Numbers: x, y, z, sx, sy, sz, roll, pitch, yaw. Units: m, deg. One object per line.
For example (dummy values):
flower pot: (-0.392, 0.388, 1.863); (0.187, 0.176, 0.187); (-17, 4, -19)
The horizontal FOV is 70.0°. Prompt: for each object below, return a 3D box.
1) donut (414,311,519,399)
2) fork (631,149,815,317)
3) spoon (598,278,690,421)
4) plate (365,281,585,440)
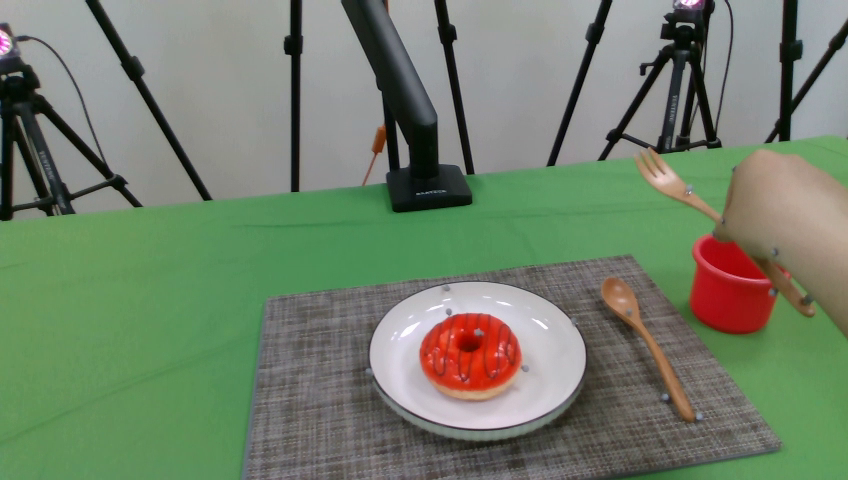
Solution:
donut: (0.040, 0.109, 0.575); (0.099, 0.048, 0.098); (-2, 35, 2)
fork: (0.243, -0.013, 0.507); (0.028, 0.019, 0.205); (-18, 47, -15)
spoon: (0.220, 0.102, 0.610); (0.042, 0.022, 0.192); (10, 30, -13)
plate: (0.049, 0.114, 0.587); (0.209, 0.038, 0.207); (-1, 32, 1)
